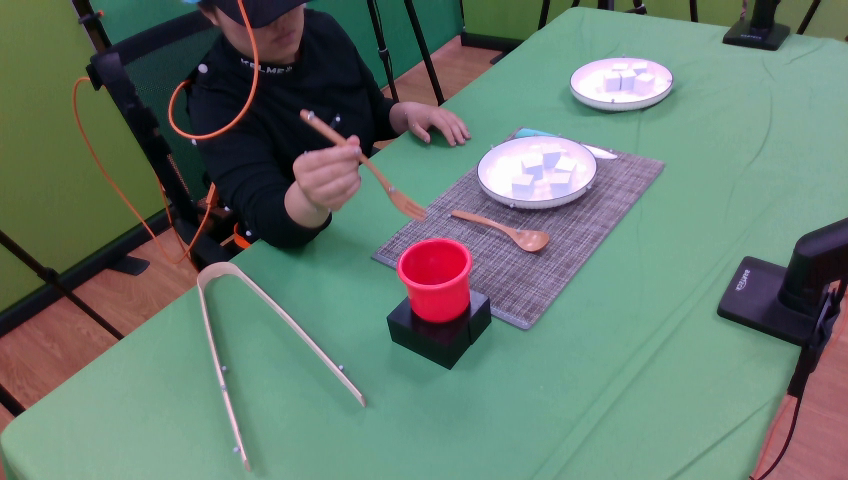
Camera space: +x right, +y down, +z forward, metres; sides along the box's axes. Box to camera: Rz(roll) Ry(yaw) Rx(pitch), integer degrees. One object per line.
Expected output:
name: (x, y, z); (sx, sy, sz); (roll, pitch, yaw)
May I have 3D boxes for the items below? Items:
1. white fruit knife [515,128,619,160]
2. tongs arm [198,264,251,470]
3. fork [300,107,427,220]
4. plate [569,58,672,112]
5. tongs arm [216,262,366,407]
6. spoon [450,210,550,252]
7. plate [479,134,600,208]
white fruit knife: (0.269, -0.182, 1.148); (0.206, 0.016, 0.027); (21, 77, 29)
tongs arm: (-0.270, 0.154, 0.841); (0.051, 0.026, 0.381); (-23, 41, -17)
fork: (-0.069, -0.090, 0.738); (0.018, 0.209, 0.028); (-21, 39, 38)
plate: (0.411, -0.323, 1.274); (0.209, 0.038, 0.208); (-5, 41, 5)
tongs arm: (-0.201, 0.122, 0.871); (0.028, 0.028, 0.384); (-36, 46, -25)
spoon: (0.119, -0.022, 0.979); (0.192, 0.022, 0.041); (24, 68, 33)
plate: (0.202, -0.117, 1.065); (0.207, 0.039, 0.206); (-5, 40, 5)
